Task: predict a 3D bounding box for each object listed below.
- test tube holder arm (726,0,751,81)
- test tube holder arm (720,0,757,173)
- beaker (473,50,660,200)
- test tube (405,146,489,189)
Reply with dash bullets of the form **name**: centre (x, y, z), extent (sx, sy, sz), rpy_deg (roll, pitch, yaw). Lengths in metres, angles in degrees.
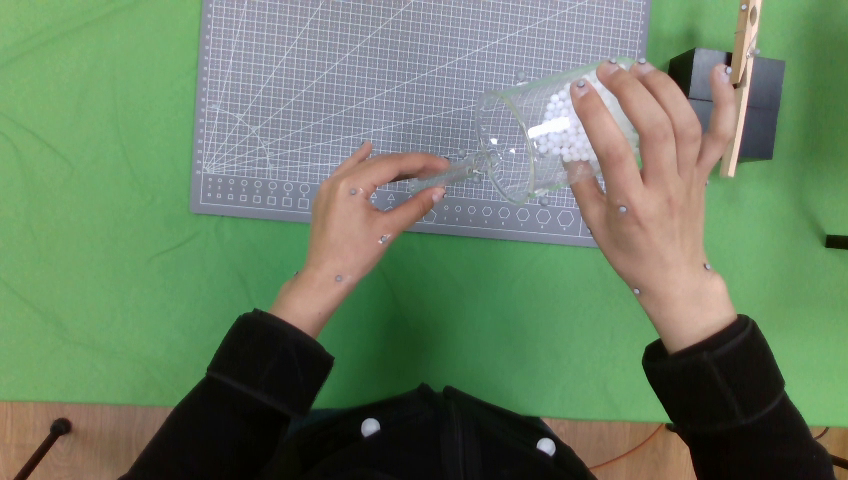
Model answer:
- **test tube holder arm**: centre (0.311, -0.201, 0.597), extent (0.010, 0.015, 0.088), rpy_deg (3, 95, -15)
- **test tube holder arm**: centre (0.313, -0.156, 0.603), extent (0.013, 0.015, 0.178), rpy_deg (3, 95, -16)
- **beaker**: centre (0.091, -0.076, 0.392), extent (0.100, 0.084, 0.074), rpy_deg (-20, 91, -14)
- **test tube**: centre (0.014, -0.056, 0.487), extent (0.017, 0.149, 0.017), rpy_deg (0, 88, -20)
